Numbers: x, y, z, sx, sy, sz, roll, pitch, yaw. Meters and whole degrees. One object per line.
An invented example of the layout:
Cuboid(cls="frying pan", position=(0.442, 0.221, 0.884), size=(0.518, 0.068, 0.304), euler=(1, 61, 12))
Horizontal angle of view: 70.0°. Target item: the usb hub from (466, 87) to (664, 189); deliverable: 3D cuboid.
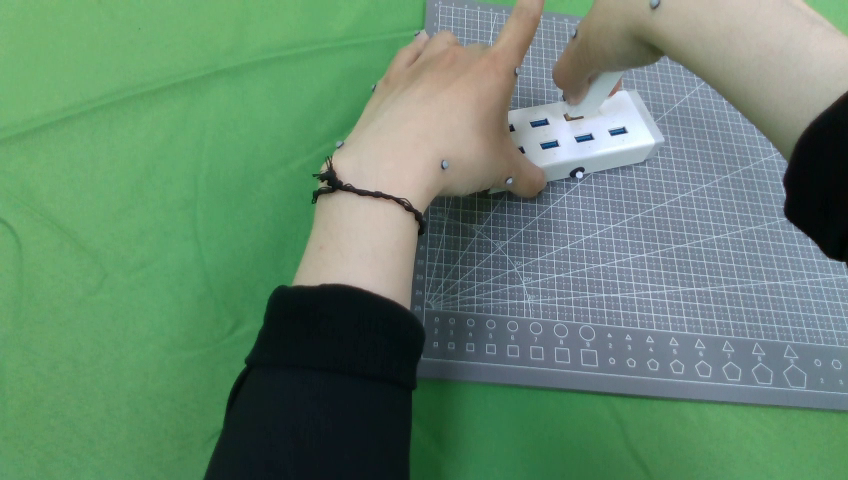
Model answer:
Cuboid(cls="usb hub", position=(0.095, -0.071, 0.409), size=(0.125, 0.025, 0.049), euler=(-12, 66, -15))

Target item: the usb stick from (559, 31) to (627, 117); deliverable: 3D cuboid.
Cuboid(cls="usb stick", position=(0.104, -0.101, 0.385), size=(0.021, 0.059, 0.027), euler=(-17, 66, -16))
